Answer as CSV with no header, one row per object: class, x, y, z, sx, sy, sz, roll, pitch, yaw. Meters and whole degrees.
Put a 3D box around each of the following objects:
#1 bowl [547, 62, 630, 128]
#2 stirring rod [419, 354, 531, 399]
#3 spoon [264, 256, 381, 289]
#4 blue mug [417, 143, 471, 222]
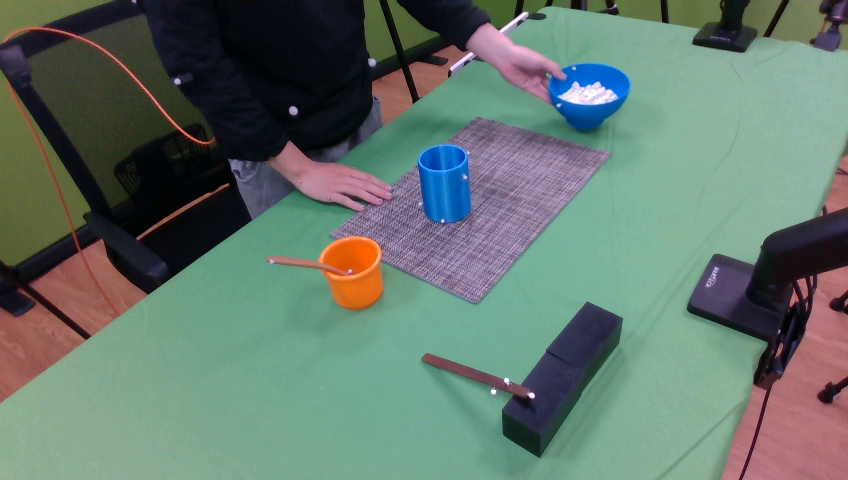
bowl,0.310,-0.267,1.156,0.151,0.077,0.150,-4,45,4
stirring rod,0.058,0.164,0.738,0.174,0.006,0.014,8,42,45
spoon,-0.136,0.041,0.842,0.021,0.195,0.041,-56,46,13
blue mug,0.031,-0.104,1.014,0.082,0.106,0.115,-14,41,-7
